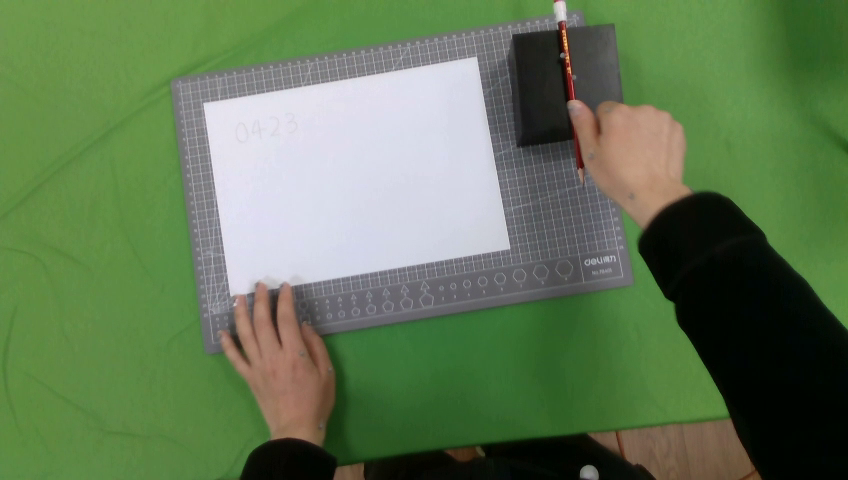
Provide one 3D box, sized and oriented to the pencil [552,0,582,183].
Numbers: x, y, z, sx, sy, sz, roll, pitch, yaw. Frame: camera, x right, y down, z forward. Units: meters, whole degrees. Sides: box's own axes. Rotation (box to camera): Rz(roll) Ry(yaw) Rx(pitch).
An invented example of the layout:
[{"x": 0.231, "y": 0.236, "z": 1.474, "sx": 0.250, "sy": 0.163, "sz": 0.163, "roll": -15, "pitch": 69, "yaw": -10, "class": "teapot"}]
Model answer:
[{"x": 0.140, "y": -0.150, "z": 0.588, "sx": 0.012, "sy": 0.012, "sz": 0.193, "roll": -6, "pitch": 85, "yaw": 1, "class": "pencil"}]
